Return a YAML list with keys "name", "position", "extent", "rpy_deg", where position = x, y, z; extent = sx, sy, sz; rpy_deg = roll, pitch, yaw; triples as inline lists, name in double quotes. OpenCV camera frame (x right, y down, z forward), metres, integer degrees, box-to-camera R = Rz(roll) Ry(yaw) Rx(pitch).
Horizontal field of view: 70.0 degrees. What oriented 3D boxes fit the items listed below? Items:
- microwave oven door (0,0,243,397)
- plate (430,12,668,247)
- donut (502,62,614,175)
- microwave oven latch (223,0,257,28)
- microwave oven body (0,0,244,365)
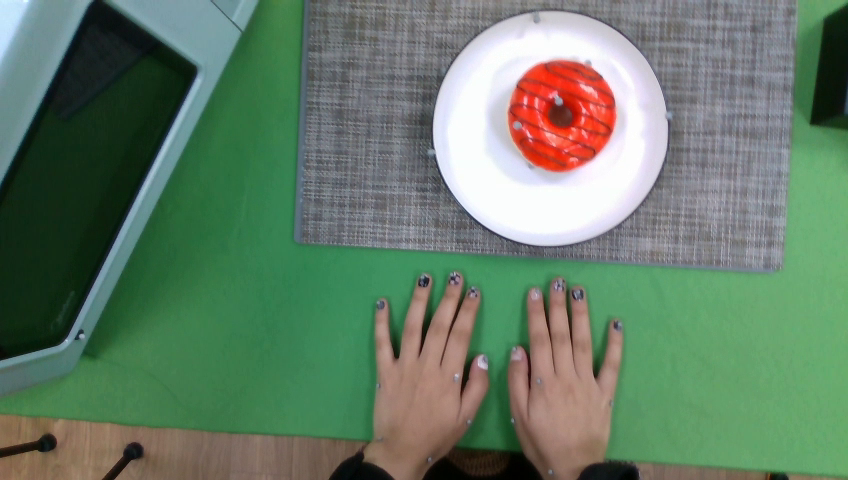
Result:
- name: "microwave oven door"
  position: [-0.265, -0.040, 0.442]
  extent: [0.039, 0.244, 0.355]
  rpy_deg: [27, 91, 2]
- name: "plate"
  position: [0.110, -0.096, 0.548]
  extent: [0.209, 0.038, 0.209]
  rpy_deg: [0, 90, 1]
- name: "donut"
  position: [0.118, -0.108, 0.536]
  extent: [0.099, 0.048, 0.099]
  rpy_deg: [0, 92, -1]
- name: "microwave oven latch"
  position: [-0.158, -0.233, 0.539]
  extent: [0.030, 0.029, 0.079]
  rpy_deg: [28, 92, 1]
- name: "microwave oven body"
  position: [-0.375, -0.146, 0.449]
  extent: [0.326, 0.260, 0.441]
  rpy_deg: [28, 92, 1]
